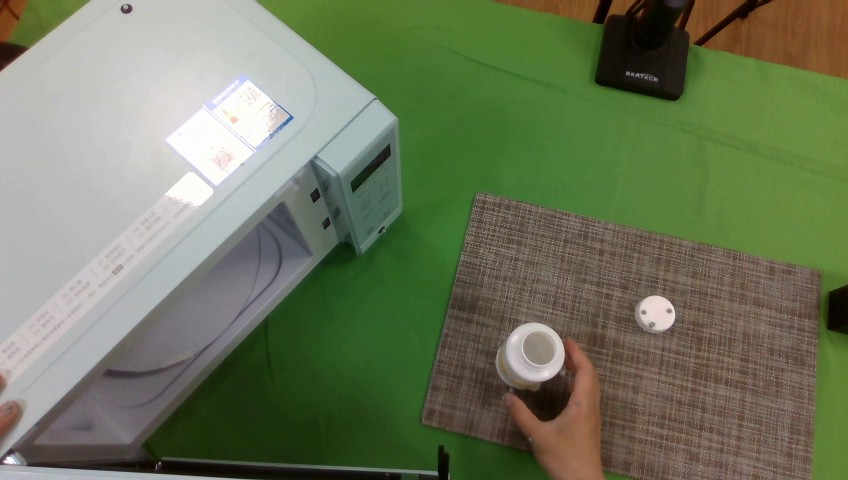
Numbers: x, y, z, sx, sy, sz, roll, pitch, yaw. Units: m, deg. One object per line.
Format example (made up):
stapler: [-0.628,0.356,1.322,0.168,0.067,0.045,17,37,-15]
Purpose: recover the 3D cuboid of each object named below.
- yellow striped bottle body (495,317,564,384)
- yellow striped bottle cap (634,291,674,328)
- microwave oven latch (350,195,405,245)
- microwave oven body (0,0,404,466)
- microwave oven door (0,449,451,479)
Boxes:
yellow striped bottle body: [0.116,0.123,0.670,0.063,0.121,0.062,0,72,-1]
yellow striped bottle cap: [0.282,0.085,0.742,0.044,0.019,0.044,0,73,0]
microwave oven latch: [-0.058,-0.032,0.743,0.030,0.029,0.079,42,77,10]
microwave oven body: [-0.285,-0.029,0.636,0.325,0.261,0.441,40,77,10]
microwave oven door: [-0.147,0.222,0.555,0.356,0.245,0.039,3,72,0]
